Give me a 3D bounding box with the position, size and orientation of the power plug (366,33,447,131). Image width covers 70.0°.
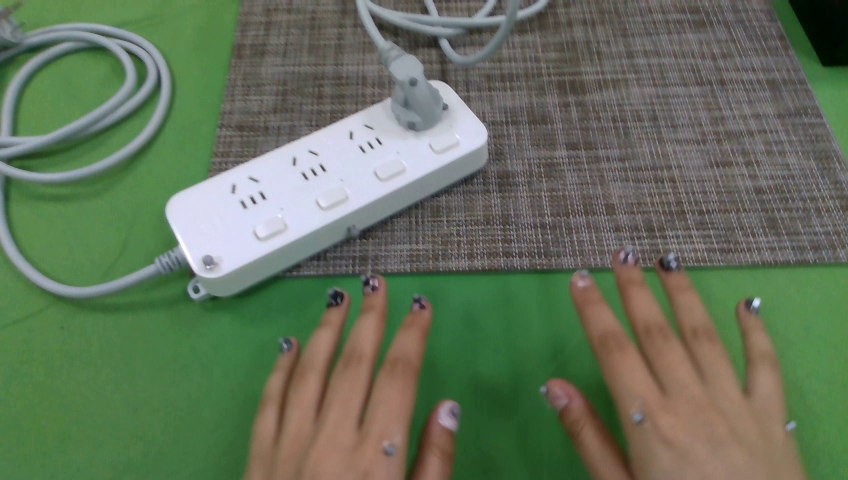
[{"bbox_3d":[-0.010,-0.105,0.415,0.035,0.053,0.072,-18,62,-9],"label":"power plug"}]

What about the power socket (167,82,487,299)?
[{"bbox_3d":[-0.058,-0.039,0.402,0.227,0.033,0.071,-28,62,-15],"label":"power socket"}]
